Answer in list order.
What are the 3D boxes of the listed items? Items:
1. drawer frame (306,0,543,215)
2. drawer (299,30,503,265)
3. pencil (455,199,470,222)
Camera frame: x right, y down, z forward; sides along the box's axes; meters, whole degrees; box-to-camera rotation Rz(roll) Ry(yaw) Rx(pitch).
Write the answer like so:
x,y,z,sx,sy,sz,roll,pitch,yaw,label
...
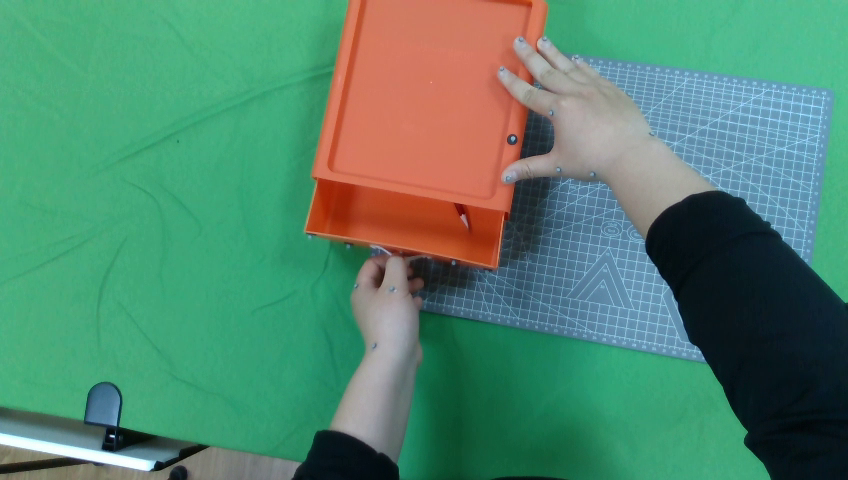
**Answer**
x,y,z,sx,sy,sz,roll,pitch,yaw,label
0.003,-0.146,0.623,0.201,0.083,0.213,10,86,7,drawer frame
-0.006,-0.091,0.620,0.194,0.073,0.211,10,86,7,drawer
0.007,-0.106,0.644,0.012,0.012,0.193,-25,86,3,pencil
